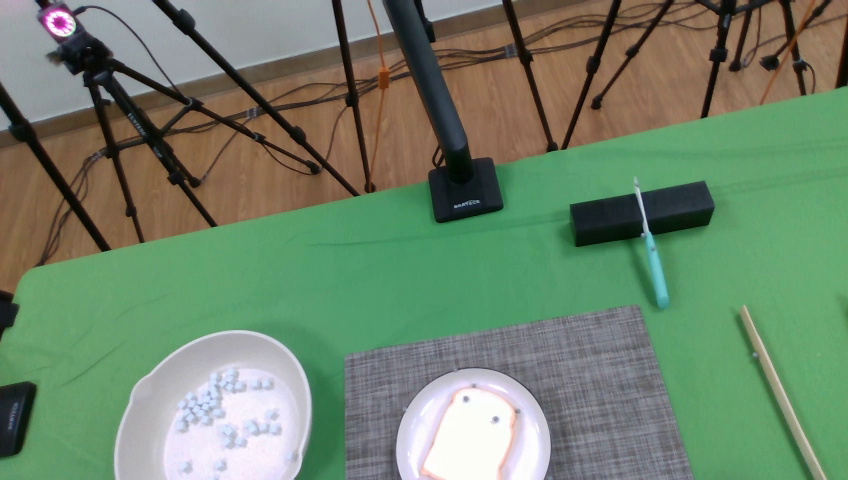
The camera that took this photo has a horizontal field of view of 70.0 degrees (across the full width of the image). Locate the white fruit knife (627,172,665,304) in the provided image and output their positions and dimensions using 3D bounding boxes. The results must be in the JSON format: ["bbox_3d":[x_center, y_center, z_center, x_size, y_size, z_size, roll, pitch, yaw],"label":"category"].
[{"bbox_3d":[0.327,-0.007,0.904,0.016,0.027,0.206,-10,71,7],"label":"white fruit knife"}]

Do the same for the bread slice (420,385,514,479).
[{"bbox_3d":[0.063,0.265,0.818,0.106,0.018,0.133,10,63,18],"label":"bread slice"}]

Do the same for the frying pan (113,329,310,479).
[{"bbox_3d":[-0.344,0.348,0.822,0.305,0.104,0.485,18,56,23],"label":"frying pan"}]

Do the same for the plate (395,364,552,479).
[{"bbox_3d":[0.066,0.270,0.812,0.207,0.039,0.205,-6,58,10],"label":"plate"}]

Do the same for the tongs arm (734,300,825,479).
[{"bbox_3d":[0.472,0.244,0.744,0.028,0.028,0.383,-13,57,2],"label":"tongs arm"}]
